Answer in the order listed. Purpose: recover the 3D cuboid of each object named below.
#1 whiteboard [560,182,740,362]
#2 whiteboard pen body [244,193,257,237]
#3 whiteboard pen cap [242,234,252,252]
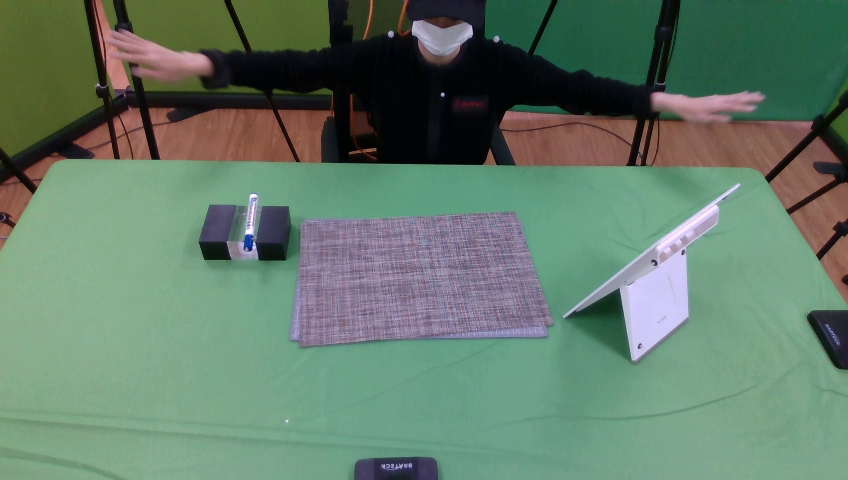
[{"bbox_3d":[0.406,0.075,1.001,0.217,0.306,0.143,-28,73,-28],"label":"whiteboard"},{"bbox_3d":[-0.328,-0.039,1.145,0.017,0.017,0.140,-3,46,-7],"label":"whiteboard pen body"},{"bbox_3d":[-0.322,0.004,1.102,0.018,0.018,0.033,-4,47,-8],"label":"whiteboard pen cap"}]
